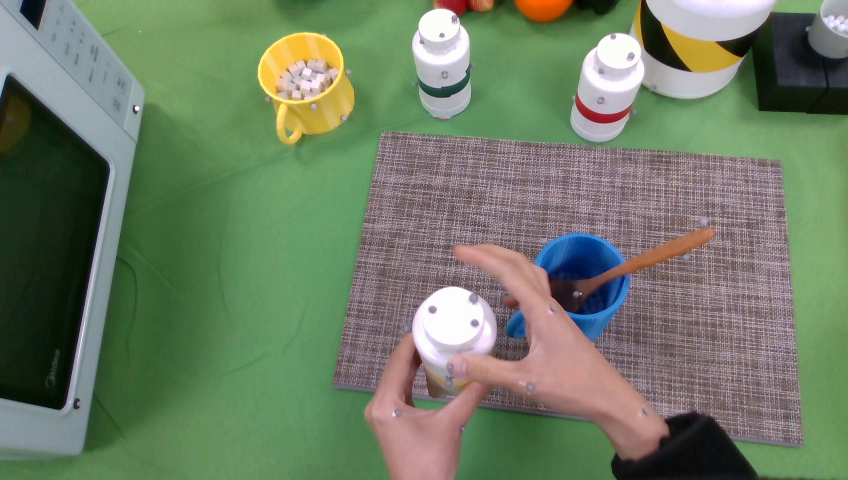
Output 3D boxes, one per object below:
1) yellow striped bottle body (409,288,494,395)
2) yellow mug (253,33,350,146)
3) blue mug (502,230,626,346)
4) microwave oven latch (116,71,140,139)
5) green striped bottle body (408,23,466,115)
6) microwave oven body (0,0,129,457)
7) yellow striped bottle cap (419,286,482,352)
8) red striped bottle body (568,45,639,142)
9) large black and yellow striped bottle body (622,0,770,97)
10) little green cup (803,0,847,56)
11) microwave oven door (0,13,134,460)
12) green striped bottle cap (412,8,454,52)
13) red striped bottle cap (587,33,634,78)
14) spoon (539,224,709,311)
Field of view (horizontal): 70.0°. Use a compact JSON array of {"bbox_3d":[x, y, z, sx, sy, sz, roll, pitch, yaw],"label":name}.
[{"bbox_3d":[0.023,0.078,0.472,0.063,0.121,0.062,-2,63,5],"label":"yellow striped bottle body"},{"bbox_3d":[-0.148,-0.171,0.714,0.099,0.064,0.130,15,71,11],"label":"yellow mug"},{"bbox_3d":[0.125,0.057,0.573,0.116,0.106,0.081,-30,68,-7],"label":"blue mug"},{"bbox_3d":[-0.361,-0.160,0.722,0.030,0.030,0.078,-2,69,4],"label":"microwave oven latch"},{"bbox_3d":[0.016,-0.199,0.682,0.063,0.120,0.062,-1,68,4],"label":"green striped bottle body"},{"bbox_3d":[-0.512,-0.024,0.576,0.326,0.262,0.438,-3,68,3],"label":"microwave oven body"},{"bbox_3d":[0.019,0.055,0.426,0.044,0.019,0.044,-2,63,5],"label":"yellow striped bottle cap"},{"bbox_3d":[0.192,-0.164,0.653,0.063,0.120,0.062,-3,66,7],"label":"red striped bottle body"},{"bbox_3d":[0.292,-0.257,0.647,0.131,0.185,0.130,-2,68,5],"label":"large black and yellow striped bottle body"},{"bbox_3d":[0.441,-0.230,0.647,0.061,0.039,0.061,-1,66,2],"label":"little green cup"},{"bbox_3d":[-0.365,0.004,0.547,0.039,0.245,0.353,-4,68,4],"label":"microwave oven door"},{"bbox_3d":[0.010,-0.220,0.634,0.044,0.020,0.044,0,69,2],"label":"green striped bottle cap"},{"bbox_3d":[0.187,-0.185,0.604,0.044,0.018,0.044,0,67,1],"label":"red striped bottle cap"},{"bbox_3d":[0.163,0.030,0.534,0.022,0.194,0.041,7,64,-31],"label":"spoon"}]
